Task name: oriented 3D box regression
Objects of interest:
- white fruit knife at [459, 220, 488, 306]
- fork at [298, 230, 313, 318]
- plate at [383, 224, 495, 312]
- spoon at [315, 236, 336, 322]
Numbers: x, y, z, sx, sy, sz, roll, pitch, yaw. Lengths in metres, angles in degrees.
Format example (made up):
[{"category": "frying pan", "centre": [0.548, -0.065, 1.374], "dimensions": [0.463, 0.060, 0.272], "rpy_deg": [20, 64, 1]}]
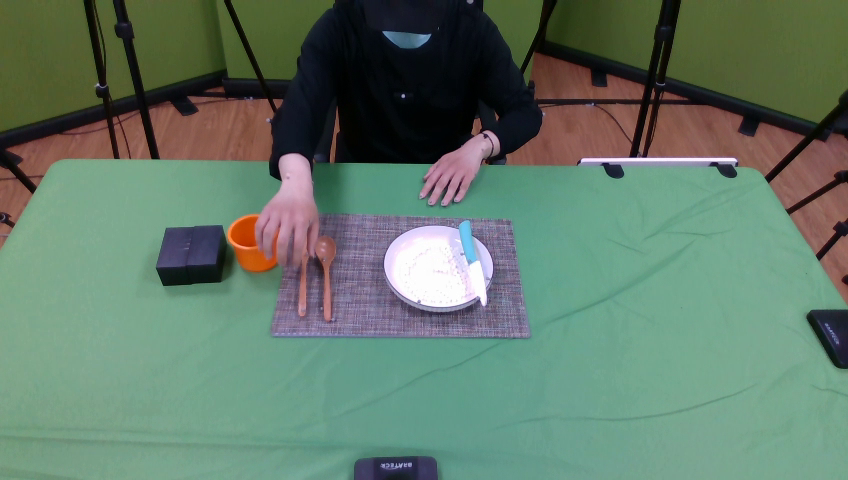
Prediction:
[{"category": "white fruit knife", "centre": [0.091, 0.039, 1.118], "dimensions": [0.027, 0.016, 0.206], "rpy_deg": [-1, 47, -11]}, {"category": "fork", "centre": [-0.222, 0.058, 1.121], "dimensions": [0.028, 0.019, 0.206], "rpy_deg": [2, 44, -10]}, {"category": "plate", "centre": [0.026, 0.055, 1.128], "dimensions": [0.209, 0.038, 0.208], "rpy_deg": [2, 46, -2]}, {"category": "spoon", "centre": [-0.180, 0.068, 1.111], "dimensions": [0.042, 0.022, 0.192], "rpy_deg": [10, 43, -20]}]
